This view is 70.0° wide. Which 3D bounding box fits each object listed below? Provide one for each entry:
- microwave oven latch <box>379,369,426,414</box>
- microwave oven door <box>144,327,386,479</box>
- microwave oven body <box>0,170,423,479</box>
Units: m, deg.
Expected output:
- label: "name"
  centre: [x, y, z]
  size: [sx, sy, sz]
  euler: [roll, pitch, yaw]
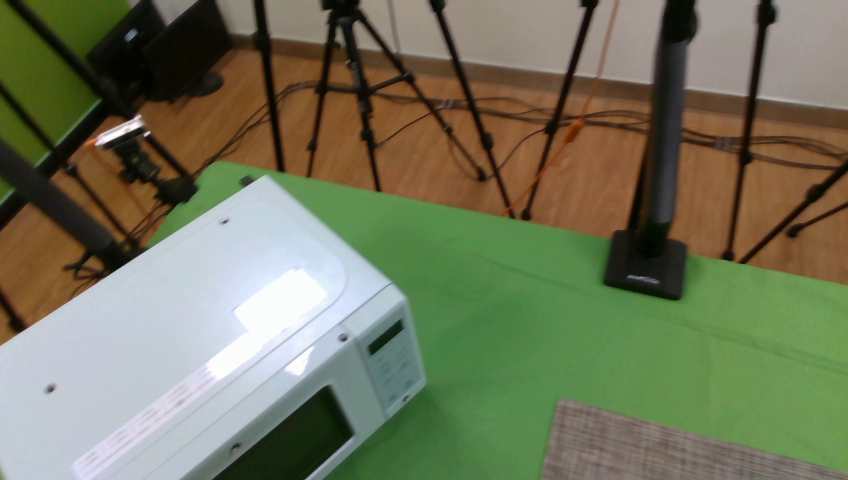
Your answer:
- label: "microwave oven latch"
  centre: [-0.033, 0.210, 0.864]
  size: [0.079, 0.030, 0.030]
  euler: [-37, 57, -20]
- label: "microwave oven door"
  centre: [-0.206, 0.273, 0.705]
  size: [0.355, 0.246, 0.039]
  euler: [-39, 57, -21]
- label: "microwave oven body"
  centre: [-0.273, 0.174, 0.797]
  size: [0.441, 0.263, 0.323]
  euler: [-39, 58, -21]
